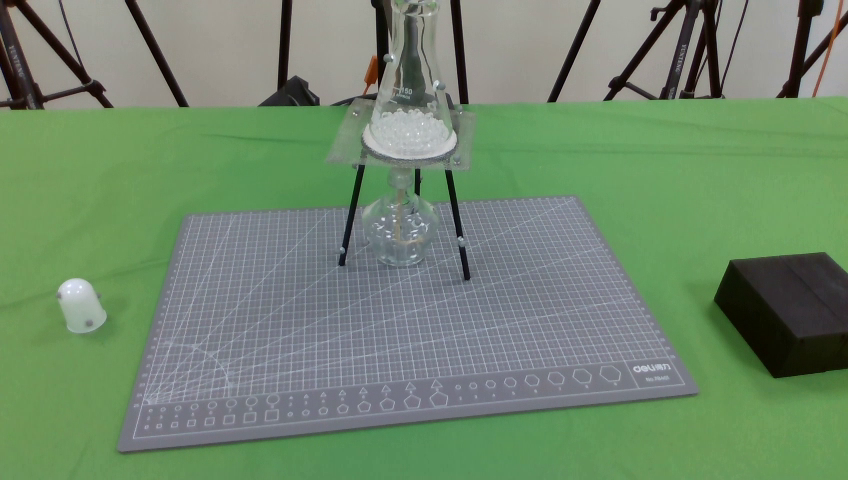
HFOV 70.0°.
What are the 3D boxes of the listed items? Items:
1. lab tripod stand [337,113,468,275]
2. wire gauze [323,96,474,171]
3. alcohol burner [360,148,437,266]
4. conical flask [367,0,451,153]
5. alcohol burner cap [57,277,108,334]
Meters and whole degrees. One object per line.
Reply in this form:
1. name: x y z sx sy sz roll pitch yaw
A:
1. lab tripod stand: -0.013 -0.043 0.587 0.148 0.132 0.147 3 37 -2
2. wire gauze: -0.017 -0.096 0.547 0.121 0.011 0.124 6 40 4
3. alcohol burner: -0.025 -0.035 0.591 0.078 0.120 0.077 1 36 0
4. conical flask: -0.011 -0.141 0.507 0.075 0.123 0.074 2 38 -2
5. alcohol burner cap: -0.296 0.054 0.521 0.034 0.048 0.033 1 37 -1
